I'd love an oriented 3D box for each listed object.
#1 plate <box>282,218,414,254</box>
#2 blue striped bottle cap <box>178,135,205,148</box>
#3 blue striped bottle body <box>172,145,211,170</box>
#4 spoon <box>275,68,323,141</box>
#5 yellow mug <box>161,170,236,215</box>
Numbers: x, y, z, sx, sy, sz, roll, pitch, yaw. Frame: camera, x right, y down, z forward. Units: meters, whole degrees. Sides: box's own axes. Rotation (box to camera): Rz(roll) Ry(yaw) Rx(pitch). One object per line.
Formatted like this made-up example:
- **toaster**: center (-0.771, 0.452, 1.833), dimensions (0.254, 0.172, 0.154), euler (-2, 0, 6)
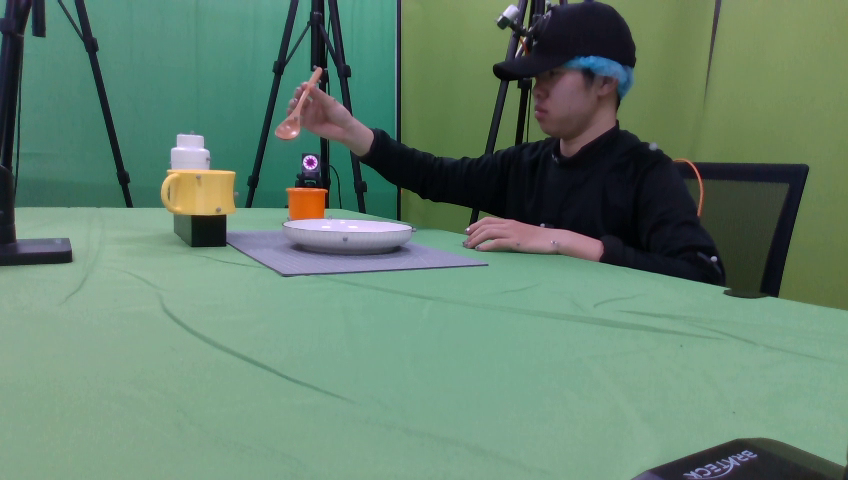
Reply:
- **plate**: center (-0.121, -0.007, 0.971), dimensions (0.208, 0.039, 0.207), euler (2, 7, 0)
- **blue striped bottle cap**: center (-0.405, -0.171, 1.053), dimensions (0.044, 0.020, 0.044), euler (3, 10, 0)
- **blue striped bottle body**: center (-0.407, -0.120, 1.059), dimensions (0.063, 0.120, 0.063), euler (3, 8, 0)
- **spoon**: center (-0.228, -0.257, 1.135), dimensions (0.041, 0.193, 0.021), euler (16, -27, 7)
- **yellow mug**: center (-0.354, -0.074, 0.935), dimensions (0.099, 0.064, 0.131), euler (5, 9, 21)
